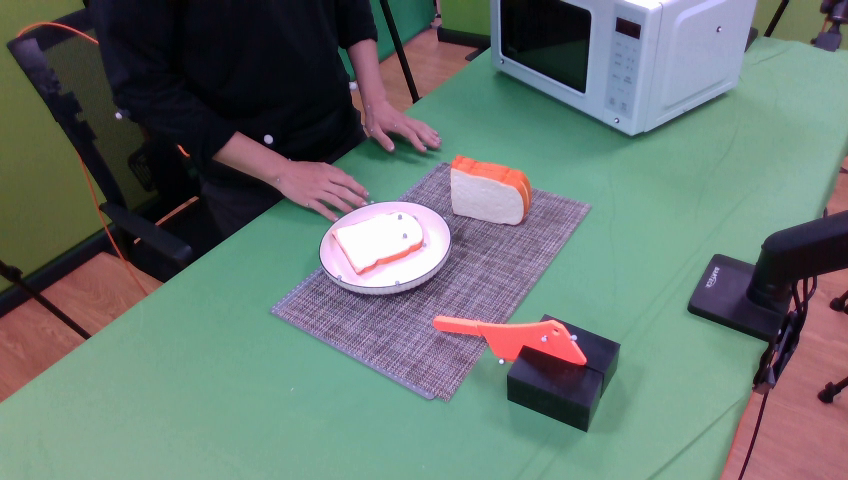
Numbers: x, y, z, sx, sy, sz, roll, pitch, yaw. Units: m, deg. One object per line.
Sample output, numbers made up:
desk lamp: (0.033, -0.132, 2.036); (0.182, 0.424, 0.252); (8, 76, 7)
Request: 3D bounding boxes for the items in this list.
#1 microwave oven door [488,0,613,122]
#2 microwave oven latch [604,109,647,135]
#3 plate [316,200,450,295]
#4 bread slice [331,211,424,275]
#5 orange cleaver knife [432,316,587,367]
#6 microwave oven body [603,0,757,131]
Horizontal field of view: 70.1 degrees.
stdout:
microwave oven door: (0.250, -0.412, 1.219); (0.039, 0.245, 0.352); (-27, 44, -21)
microwave oven latch: (0.378, -0.225, 1.139); (0.030, 0.029, 0.078); (-26, 43, -20)
plate: (-0.062, 0.015, 0.944); (0.207, 0.039, 0.206); (-4, 41, 4)
bread slice: (-0.069, -0.002, 0.960); (0.135, 0.018, 0.106); (-22, 46, -21)
orange cleaver knife: (0.101, 0.127, 0.761); (0.210, 0.077, 0.012); (-1, 34, 40)
microwave oven body: (0.396, -0.448, 1.248); (0.327, 0.261, 0.437); (-27, 44, -21)
